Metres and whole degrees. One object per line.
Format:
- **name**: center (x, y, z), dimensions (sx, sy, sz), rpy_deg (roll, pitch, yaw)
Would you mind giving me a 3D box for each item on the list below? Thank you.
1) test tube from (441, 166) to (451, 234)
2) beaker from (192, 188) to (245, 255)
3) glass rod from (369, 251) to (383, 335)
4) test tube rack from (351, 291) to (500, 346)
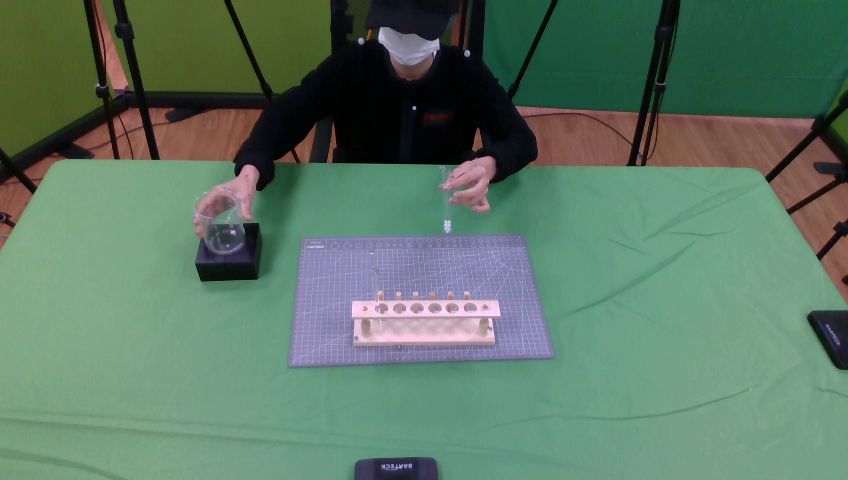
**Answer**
- **test tube**: center (0.040, -0.068, 1.079), dimensions (0.017, 0.151, 0.017), rpy_deg (-1, 44, 2)
- **beaker**: center (-0.359, -0.028, 1.073), dimensions (0.074, 0.101, 0.083), rpy_deg (-25, 53, -25)
- **glass rod**: center (-0.075, 0.090, 0.965), dimensions (0.008, 0.201, 0.008), rpy_deg (-1, 44, 1)
- **test tube rack**: center (0.000, 0.129, 1.026), dimensions (0.242, 0.085, 0.066), rpy_deg (0, 46, -4)
